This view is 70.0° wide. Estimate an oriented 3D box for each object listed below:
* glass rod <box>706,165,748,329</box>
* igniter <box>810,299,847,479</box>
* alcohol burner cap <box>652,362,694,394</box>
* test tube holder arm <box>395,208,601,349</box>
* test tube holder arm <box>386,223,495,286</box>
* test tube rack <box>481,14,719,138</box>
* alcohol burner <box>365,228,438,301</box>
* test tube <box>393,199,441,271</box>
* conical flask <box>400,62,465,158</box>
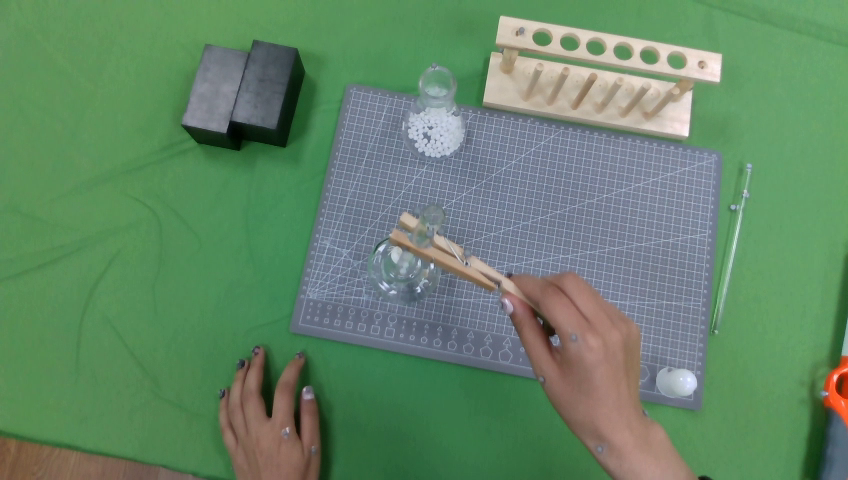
[{"bbox_3d":[0.345,0.006,0.689,0.008,0.008,0.199,17,80,2],"label":"glass rod"},{"bbox_3d":[0.461,0.135,0.655,0.057,0.025,0.275,21,78,-7],"label":"igniter"},{"bbox_3d":[0.264,0.144,0.636,0.034,0.048,0.033,0,76,-1],"label":"alcohol burner cap"},{"bbox_3d":[0.055,0.029,0.451,0.178,0.015,0.013,32,76,0],"label":"test tube holder arm"},{"bbox_3d":[0.013,0.012,0.449,0.088,0.015,0.010,25,75,-2],"label":"test tube holder arm"},{"bbox_3d":[0.193,-0.183,0.687,0.242,0.085,0.066,10,77,1],"label":"test tube rack"},{"bbox_3d":[-0.023,0.022,0.618,0.078,0.119,0.077,0,75,0],"label":"alcohol burner"},{"bbox_3d":[-0.008,0.000,0.463,0.017,0.150,0.017,3,74,-9],"label":"test tube"},{"bbox_3d":[0.011,-0.143,0.651,0.075,0.122,0.075,0,77,-1],"label":"conical flask"}]
